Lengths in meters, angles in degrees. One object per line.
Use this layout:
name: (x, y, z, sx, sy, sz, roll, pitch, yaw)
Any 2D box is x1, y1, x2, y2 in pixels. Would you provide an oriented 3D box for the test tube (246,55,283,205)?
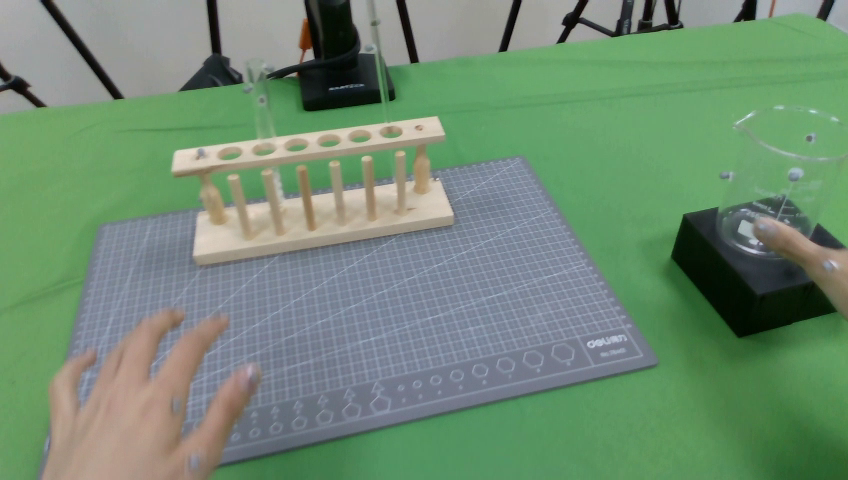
test tube: (-0.141, -0.092, 0.542, 0.017, 0.151, 0.017, 2, 41, -2)

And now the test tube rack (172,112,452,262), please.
test tube rack: (-0.099, -0.051, 0.569, 0.243, 0.086, 0.066, -9, 43, -8)

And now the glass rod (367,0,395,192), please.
glass rod: (-0.038, -0.131, 0.556, 0.008, 0.201, 0.008, -3, 36, 3)

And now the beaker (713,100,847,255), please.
beaker: (0.268, -0.045, 0.466, 0.083, 0.101, 0.074, 19, 46, 24)
